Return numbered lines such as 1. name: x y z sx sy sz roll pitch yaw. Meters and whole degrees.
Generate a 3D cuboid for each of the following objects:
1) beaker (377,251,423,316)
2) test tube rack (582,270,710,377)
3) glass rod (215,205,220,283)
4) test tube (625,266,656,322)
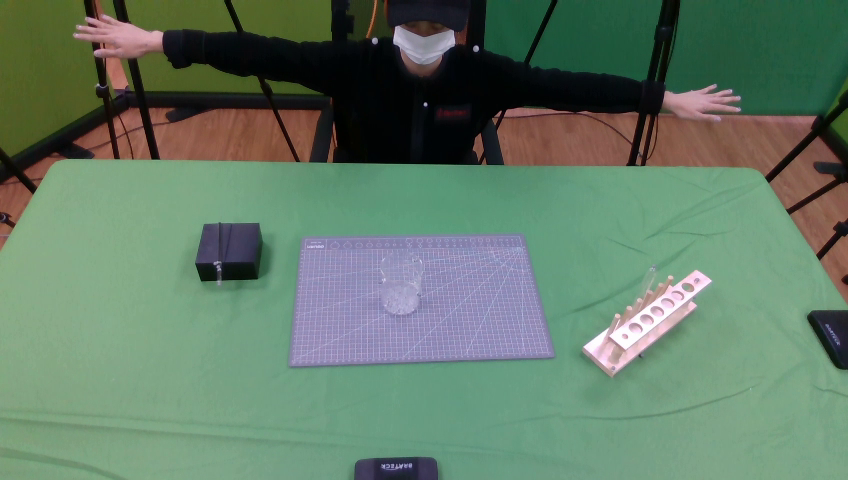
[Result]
1. beaker: -0.040 0.081 1.060 0.074 0.101 0.083 -32 57 -30
2. test tube rack: 0.389 0.132 1.057 0.242 0.085 0.066 -28 54 -28
3. glass rod: -0.376 0.003 1.104 0.008 0.008 0.198 -8 47 -12
4. test tube: 0.366 0.096 1.027 0.017 0.151 0.017 1 47 0
